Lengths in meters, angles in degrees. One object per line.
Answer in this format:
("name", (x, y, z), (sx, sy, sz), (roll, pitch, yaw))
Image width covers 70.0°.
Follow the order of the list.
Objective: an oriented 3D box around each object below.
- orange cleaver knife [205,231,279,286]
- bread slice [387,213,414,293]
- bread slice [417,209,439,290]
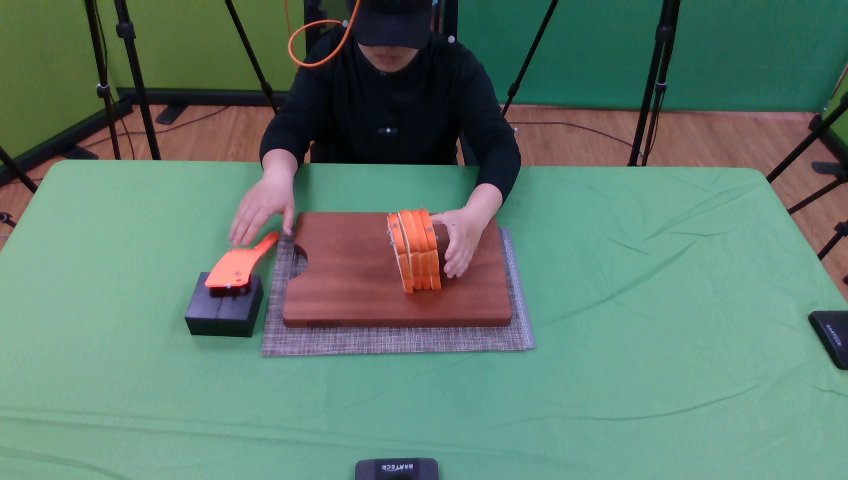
("orange cleaver knife", (-0.328, 0.031, 1.108), (0.077, 0.012, 0.210), (5, 27, 7))
("bread slice", (-0.043, 0.016, 1.067), (0.019, 0.132, 0.104), (-15, 46, -4))
("bread slice", (0.007, 0.013, 1.073), (0.018, 0.135, 0.106), (-11, 51, -7))
